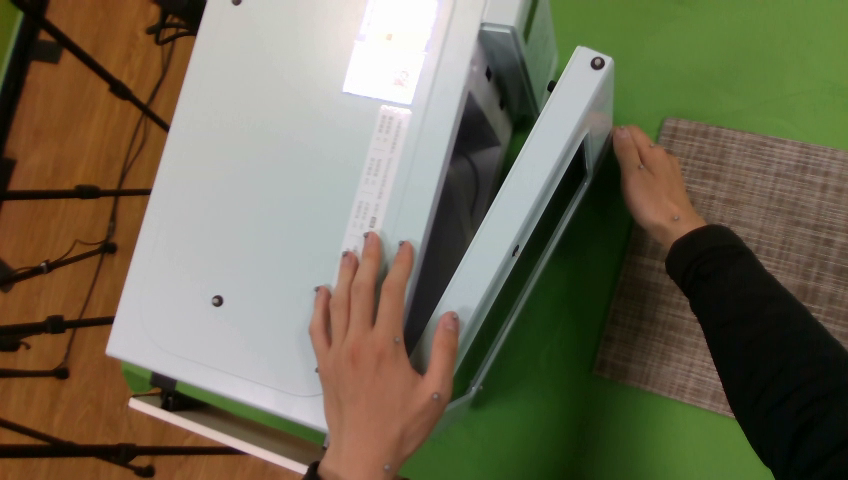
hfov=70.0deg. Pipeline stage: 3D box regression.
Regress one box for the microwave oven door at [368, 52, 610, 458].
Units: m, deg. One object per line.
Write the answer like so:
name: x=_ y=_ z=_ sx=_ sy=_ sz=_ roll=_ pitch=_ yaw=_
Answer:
microwave oven door: x=0.079 y=0.027 z=0.583 sx=0.039 sy=0.245 sz=0.355 roll=29 pitch=92 yaw=18

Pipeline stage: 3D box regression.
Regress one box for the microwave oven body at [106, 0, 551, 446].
microwave oven body: x=-0.082 y=-0.061 z=0.644 sx=0.324 sy=0.261 sz=0.441 roll=14 pitch=88 yaw=17

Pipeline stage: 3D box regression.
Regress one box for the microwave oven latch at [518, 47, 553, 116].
microwave oven latch: x=0.128 y=-0.186 z=0.701 sx=0.030 sy=0.029 sz=0.079 roll=15 pitch=88 yaw=17
